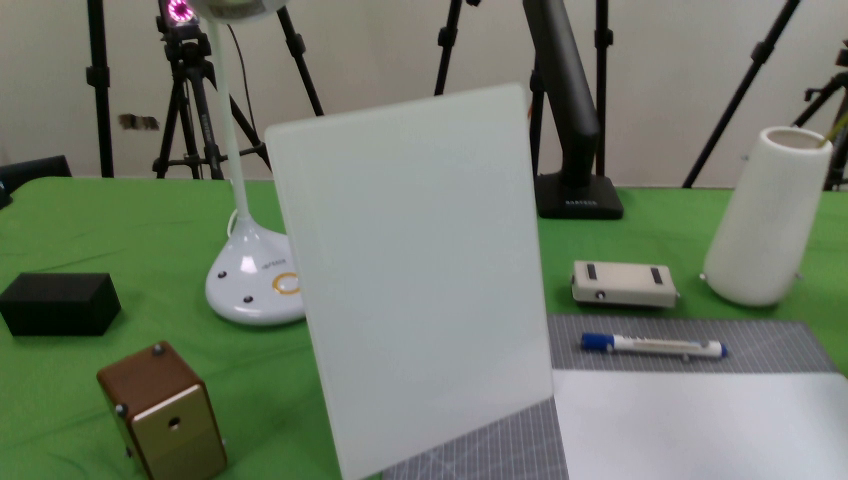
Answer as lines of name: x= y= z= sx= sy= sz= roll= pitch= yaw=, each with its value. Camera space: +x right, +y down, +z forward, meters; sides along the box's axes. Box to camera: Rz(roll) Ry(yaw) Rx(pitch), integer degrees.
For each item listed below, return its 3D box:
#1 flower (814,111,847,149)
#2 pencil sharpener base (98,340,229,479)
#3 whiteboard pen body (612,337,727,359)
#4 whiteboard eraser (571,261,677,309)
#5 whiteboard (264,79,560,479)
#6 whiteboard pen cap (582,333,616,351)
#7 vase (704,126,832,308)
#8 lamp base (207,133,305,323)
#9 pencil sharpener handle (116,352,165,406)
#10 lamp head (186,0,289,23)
flower: x=0.395 y=-0.081 z=0.619 sx=0.044 sy=0.364 sz=0.038 roll=-11 pitch=52 yaw=-27
pencil sharpener base: x=-0.214 y=0.148 z=0.500 sx=0.061 sy=0.108 sz=0.076 roll=-27 pitch=42 yaw=-34
whiteboard pen body: x=0.244 y=0.112 z=0.635 sx=0.140 sy=0.017 sz=0.017 roll=3 pitch=33 yaw=5
whiteboard eraser: x=0.230 y=0.054 z=0.706 sx=0.112 sy=0.042 sz=0.055 roll=2 pitch=31 yaw=5
whiteboard: x=-0.017 y=0.026 z=0.558 sx=0.218 sy=0.307 sz=0.142 roll=-16 pitch=17 yaw=-21
whiteboard pen cap: x=0.185 y=0.109 z=0.639 sx=0.033 sy=0.018 sz=0.018 roll=5 pitch=34 yaw=4
vase: x=0.385 y=-0.021 z=0.677 sx=0.098 sy=0.201 sz=0.097 roll=1 pitch=34 yaw=0
lamp base: x=-0.187 y=-0.023 z=0.695 sx=0.177 sy=0.182 sz=0.161 roll=26 pitch=41 yaw=38
pencil sharpener handle: x=-0.247 y=0.117 z=0.526 sx=0.036 sy=0.068 sz=0.030 roll=-34 pitch=45 yaw=-28
lamp head: x=-0.168 y=-0.258 z=0.499 sx=0.112 sy=0.113 sz=0.122 roll=-21 pitch=63 yaw=-29
